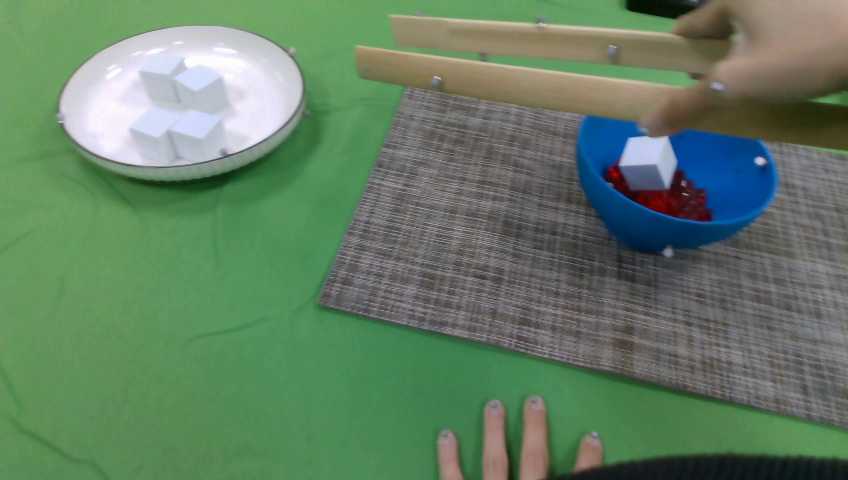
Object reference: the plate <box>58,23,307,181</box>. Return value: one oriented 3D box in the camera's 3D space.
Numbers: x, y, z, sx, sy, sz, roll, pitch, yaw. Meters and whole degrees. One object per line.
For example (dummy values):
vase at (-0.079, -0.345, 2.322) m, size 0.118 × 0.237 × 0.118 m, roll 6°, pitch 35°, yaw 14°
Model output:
plate at (-0.212, -0.125, 0.552) m, size 0.209 × 0.038 × 0.207 m, roll 3°, pitch 51°, yaw -3°

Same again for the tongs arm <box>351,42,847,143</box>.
tongs arm at (0.121, -0.089, 0.355) m, size 0.385 × 0.028 × 0.028 m, roll 13°, pitch 45°, yaw 24°

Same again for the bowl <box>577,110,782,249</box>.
bowl at (0.191, -0.046, 0.489) m, size 0.151 × 0.077 × 0.150 m, roll 2°, pitch 50°, yaw -3°

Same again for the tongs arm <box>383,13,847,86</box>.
tongs arm at (0.136, -0.110, 0.373) m, size 0.382 × 0.027 × 0.050 m, roll 12°, pitch 47°, yaw 22°
